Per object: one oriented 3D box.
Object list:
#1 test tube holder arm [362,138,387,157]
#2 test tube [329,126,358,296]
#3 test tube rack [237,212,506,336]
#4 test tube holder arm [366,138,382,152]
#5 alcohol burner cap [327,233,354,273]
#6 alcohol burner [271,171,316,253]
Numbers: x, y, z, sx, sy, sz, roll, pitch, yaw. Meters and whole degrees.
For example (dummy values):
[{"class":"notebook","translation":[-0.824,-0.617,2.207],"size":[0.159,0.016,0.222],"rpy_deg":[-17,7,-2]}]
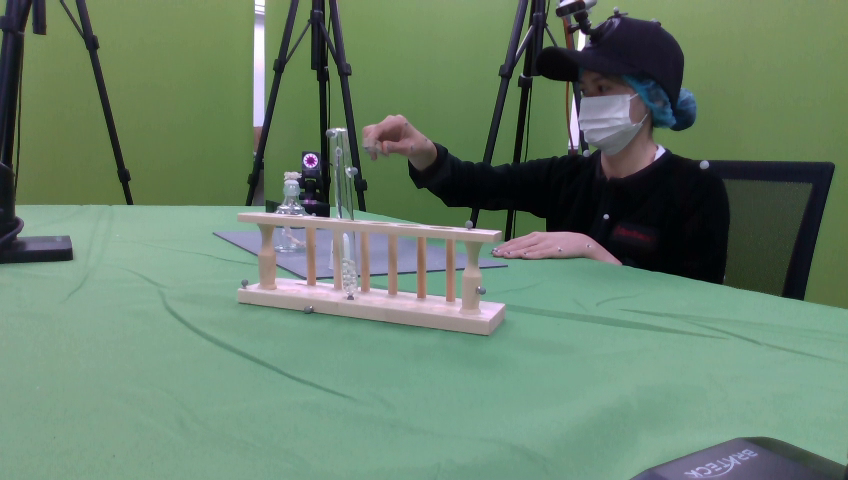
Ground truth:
[{"class":"test tube holder arm","translation":[-0.076,-0.144,0.950],"size":[0.013,0.015,0.178],"rpy_deg":[3,3,4]},{"class":"test tube","translation":[-0.071,-0.025,0.535],"size":[0.017,0.150,0.017],"rpy_deg":[-3,8,1]},{"class":"test tube rack","translation":[-0.049,0.024,0.552],"size":[0.242,0.085,0.067],"rpy_deg":[5,8,18]},{"class":"test tube holder arm","translation":[-0.074,-0.141,0.905],"size":[0.010,0.015,0.088],"rpy_deg":[3,3,5]},{"class":"alcohol burner cap","translation":[-0.104,0.016,0.751],"size":[0.034,0.048,0.034],"rpy_deg":[3,6,0]},{"class":"alcohol burner","translation":[-0.196,-0.041,0.884],"size":[0.078,0.119,0.078],"rpy_deg":[3,5,0]}]
